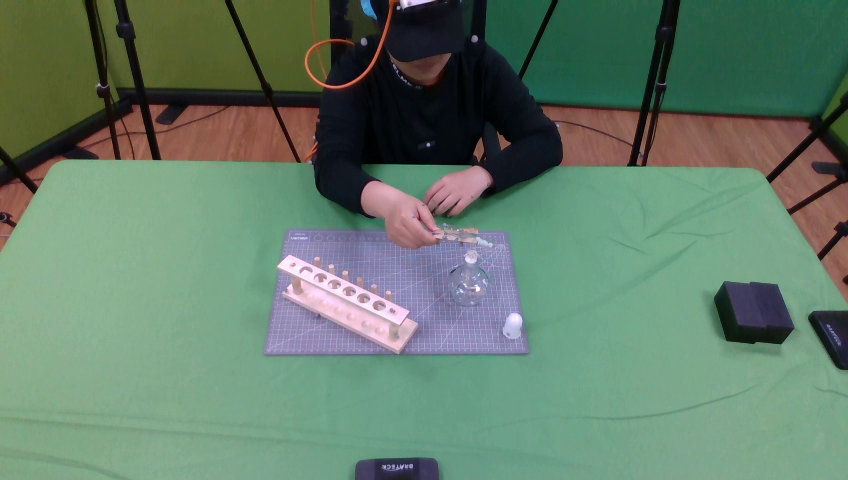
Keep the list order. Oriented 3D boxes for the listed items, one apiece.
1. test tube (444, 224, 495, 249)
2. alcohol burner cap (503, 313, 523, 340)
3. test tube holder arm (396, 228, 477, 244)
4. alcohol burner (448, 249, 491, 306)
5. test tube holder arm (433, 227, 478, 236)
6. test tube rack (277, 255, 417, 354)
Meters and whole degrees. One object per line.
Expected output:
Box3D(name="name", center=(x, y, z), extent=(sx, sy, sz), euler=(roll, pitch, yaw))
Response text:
Box3D(name="test tube", center=(0.077, -0.004, 0.997), extent=(0.017, 0.017, 0.151), euler=(45, 15, 33))
Box3D(name="alcohol burner cap", center=(0.156, 0.148, 1.051), extent=(0.034, 0.048, 0.033), euler=(1, 45, -1))
Box3D(name="test tube holder arm", center=(0.017, -0.008, 1.027), extent=(0.178, 0.015, 0.013), euler=(6, 80, 43))
Box3D(name="alcohol burner", center=(0.081, 0.062, 1.078), extent=(0.078, 0.120, 0.077), euler=(1, 45, -1))
Box3D(name="test tube holder arm", center=(0.051, -0.012, 0.998), extent=(0.087, 0.015, 0.010), euler=(-4, 74, 41))
Box3D(name="test tube rack", center=(-0.131, 0.099, 1.046), extent=(0.241, 0.085, 0.066), euler=(23, 49, 17))
